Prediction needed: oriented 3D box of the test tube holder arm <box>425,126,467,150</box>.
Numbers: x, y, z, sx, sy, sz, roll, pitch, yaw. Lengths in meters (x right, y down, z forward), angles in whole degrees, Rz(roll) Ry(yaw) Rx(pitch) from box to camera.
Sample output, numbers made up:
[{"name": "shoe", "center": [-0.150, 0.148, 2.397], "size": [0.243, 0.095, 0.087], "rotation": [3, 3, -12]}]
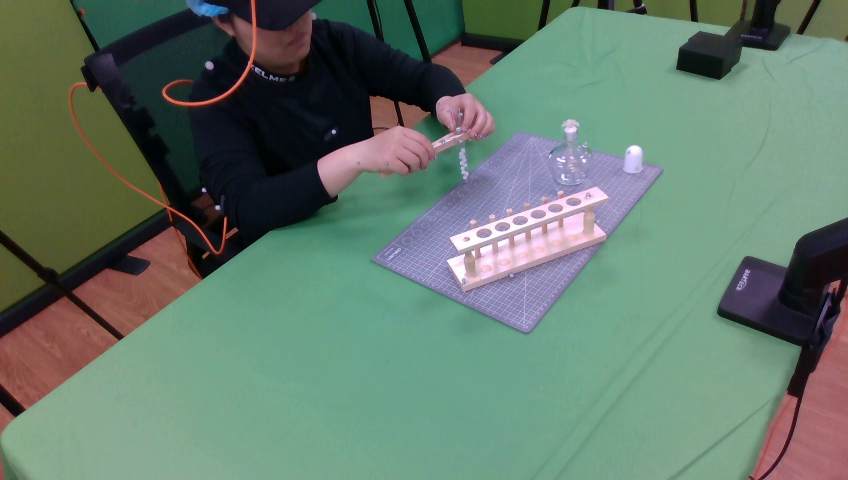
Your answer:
[{"name": "test tube holder arm", "center": [0.039, -0.170, 1.035], "size": [0.088, 0.015, 0.010], "rotation": [-33, 38, -22]}]

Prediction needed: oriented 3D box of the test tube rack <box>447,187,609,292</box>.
[{"name": "test tube rack", "center": [0.155, -0.011, 0.913], "size": [0.243, 0.085, 0.066], "rotation": [-19, 41, -11]}]

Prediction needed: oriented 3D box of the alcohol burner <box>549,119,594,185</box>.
[{"name": "alcohol burner", "center": [0.254, -0.155, 1.043], "size": [0.078, 0.120, 0.077], "rotation": [-7, 40, 6]}]

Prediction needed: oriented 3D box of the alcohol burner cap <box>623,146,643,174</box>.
[{"name": "alcohol burner cap", "center": [0.369, -0.143, 1.061], "size": [0.034, 0.048, 0.033], "rotation": [-7, 40, 6]}]

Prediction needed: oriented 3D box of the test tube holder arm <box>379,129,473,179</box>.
[{"name": "test tube holder arm", "center": [0.005, -0.146, 1.017], "size": [0.179, 0.015, 0.013], "rotation": [-29, 36, -17]}]

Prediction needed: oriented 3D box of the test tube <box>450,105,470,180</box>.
[{"name": "test tube", "center": [0.064, -0.166, 1.052], "size": [0.017, 0.151, 0.017], "rotation": [-7, 41, 7]}]
